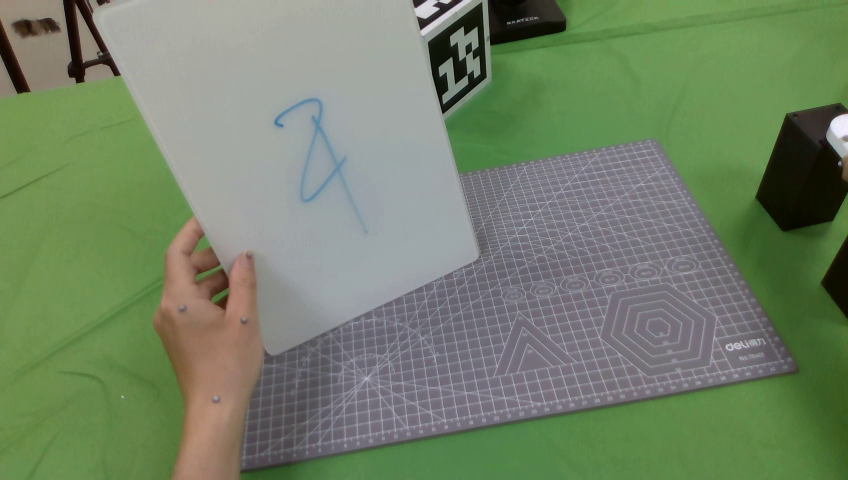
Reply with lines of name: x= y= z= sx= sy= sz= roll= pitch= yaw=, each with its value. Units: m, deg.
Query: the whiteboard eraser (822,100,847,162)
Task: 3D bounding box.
whiteboard eraser: x=0.346 y=-0.073 z=0.468 sx=0.041 sy=0.019 sz=0.100 roll=-7 pitch=49 yaw=2

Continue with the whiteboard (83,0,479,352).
whiteboard: x=-0.108 y=-0.098 z=0.540 sx=0.217 sy=0.308 sz=0.142 roll=-25 pitch=31 yaw=-12
